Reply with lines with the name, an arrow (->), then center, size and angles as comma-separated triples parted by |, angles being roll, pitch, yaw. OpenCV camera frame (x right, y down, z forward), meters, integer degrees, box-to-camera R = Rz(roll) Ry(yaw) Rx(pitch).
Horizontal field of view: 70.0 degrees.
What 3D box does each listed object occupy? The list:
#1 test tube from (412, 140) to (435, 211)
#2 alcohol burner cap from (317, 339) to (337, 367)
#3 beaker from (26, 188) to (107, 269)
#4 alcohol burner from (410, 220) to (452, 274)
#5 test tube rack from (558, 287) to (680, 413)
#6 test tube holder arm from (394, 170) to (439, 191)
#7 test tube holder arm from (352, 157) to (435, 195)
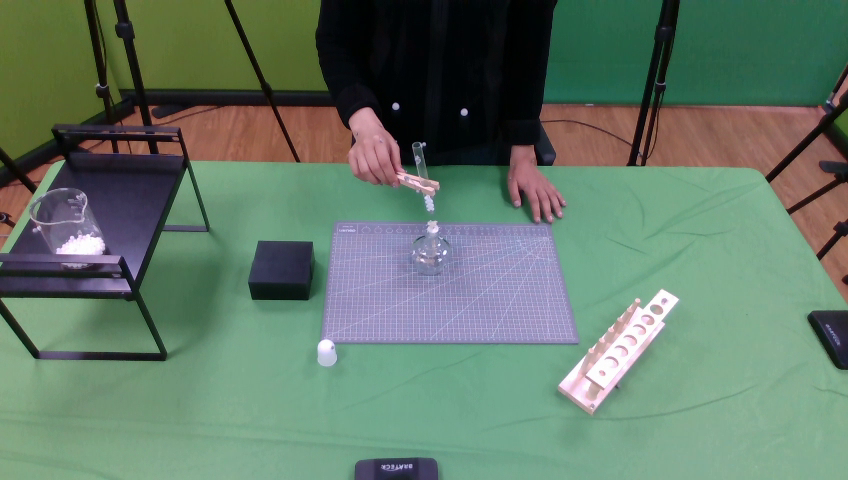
test tube -> 0.000, -0.103, 1.007 | 0.017, 0.151, 0.017 | -6, 47, 7
alcohol burner cap -> -0.161, 0.182, 0.995 | 0.034, 0.048, 0.033 | 2, 47, -2
beaker -> -0.504, -0.013, 0.868 | 0.084, 0.101, 0.074 | 23, 49, 17
alcohol burner -> 0.013, 0.007, 1.120 | 0.078, 0.120, 0.077 | 1, 48, 0
test tube rack -> 0.326, 0.170, 1.009 | 0.066, 0.085, 0.242 | 36, 54, 26
test tube holder arm -> -0.015, -0.102, 1.031 | 0.087, 0.015, 0.010 | 16, 50, 23
test tube holder arm -> -0.056, -0.112, 1.047 | 0.177, 0.015, 0.013 | 22, 52, 27
